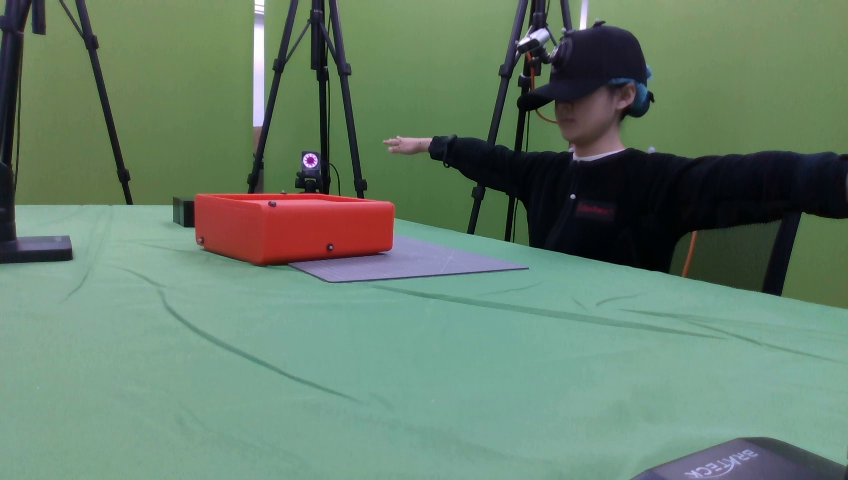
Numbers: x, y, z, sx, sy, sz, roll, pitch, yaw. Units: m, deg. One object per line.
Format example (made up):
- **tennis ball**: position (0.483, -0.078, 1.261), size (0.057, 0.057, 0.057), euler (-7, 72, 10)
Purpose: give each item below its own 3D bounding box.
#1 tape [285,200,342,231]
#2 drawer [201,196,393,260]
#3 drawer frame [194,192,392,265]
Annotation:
- **tape**: position (-0.223, -0.051, 1.221), size (0.117, 0.052, 0.117), euler (3, 7, 0)
- **drawer**: position (-0.186, -0.023, 0.886), size (0.213, 0.073, 0.193), euler (-5, 11, -43)
- **drawer frame**: position (-0.190, -0.024, 0.882), size (0.215, 0.082, 0.200), euler (-5, 11, -44)
